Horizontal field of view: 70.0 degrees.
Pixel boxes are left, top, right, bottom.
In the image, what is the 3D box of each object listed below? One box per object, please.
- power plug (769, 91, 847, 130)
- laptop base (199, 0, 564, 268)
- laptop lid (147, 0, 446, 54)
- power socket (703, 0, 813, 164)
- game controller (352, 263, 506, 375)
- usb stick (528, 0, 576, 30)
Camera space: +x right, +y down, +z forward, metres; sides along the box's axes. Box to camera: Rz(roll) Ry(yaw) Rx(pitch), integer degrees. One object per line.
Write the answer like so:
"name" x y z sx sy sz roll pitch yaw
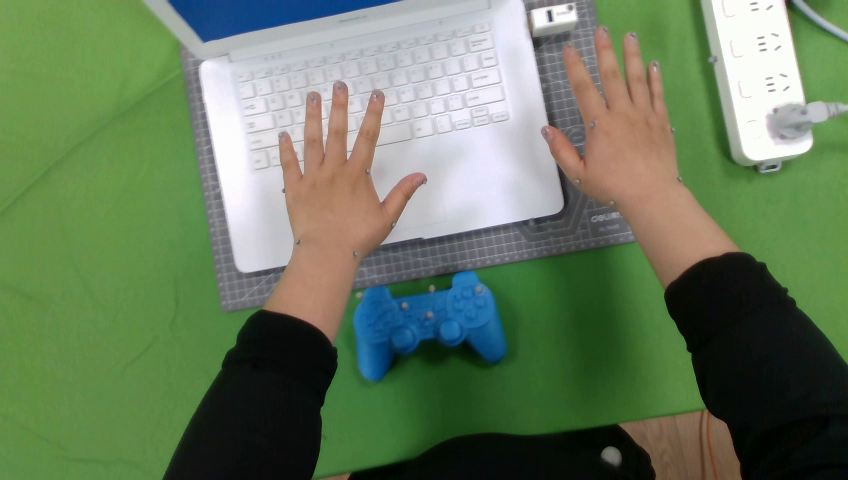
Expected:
"power plug" 0.375 -0.124 0.590 0.072 0.053 0.035 2 87 0
"laptop base" -0.048 -0.118 0.642 0.354 0.023 0.235 -11 90 3
"laptop lid" -0.083 -0.257 0.532 0.356 0.243 0.013 -12 78 4
"power socket" 0.335 -0.192 0.614 0.072 0.032 0.226 -9 87 4
"game controller" 0.001 0.079 0.616 0.155 0.052 0.096 -9 80 3
"usb stick" 0.125 -0.234 0.624 0.059 0.027 0.021 -10 87 7
